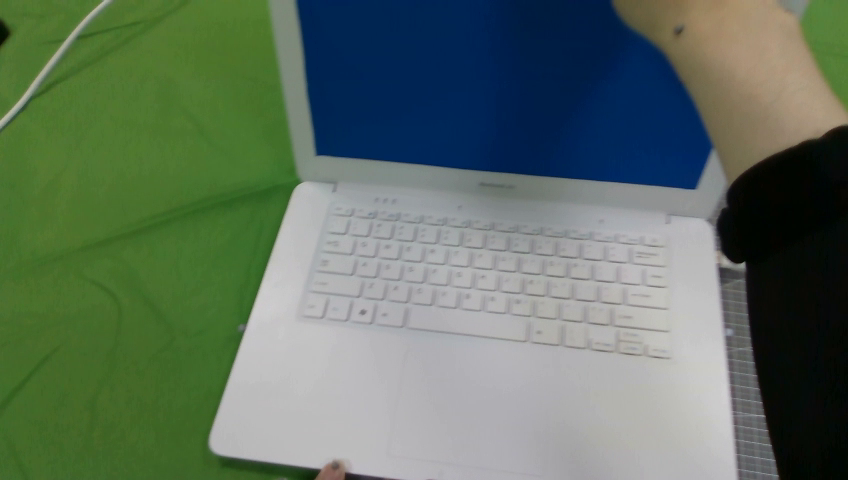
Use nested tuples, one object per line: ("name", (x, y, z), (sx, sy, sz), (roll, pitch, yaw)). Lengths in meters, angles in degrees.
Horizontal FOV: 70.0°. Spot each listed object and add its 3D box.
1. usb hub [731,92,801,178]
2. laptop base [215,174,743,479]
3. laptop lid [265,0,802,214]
("usb hub", (0.296, -0.114, 0.564), (0.049, 0.025, 0.124), (-6, 57, -2))
("laptop base", (0.045, 0.062, 0.460), (0.354, 0.023, 0.233), (6, 61, 6))
("laptop lid", (0.062, -0.122, 0.439), (0.356, 0.244, 0.013), (5, 44, 7))
